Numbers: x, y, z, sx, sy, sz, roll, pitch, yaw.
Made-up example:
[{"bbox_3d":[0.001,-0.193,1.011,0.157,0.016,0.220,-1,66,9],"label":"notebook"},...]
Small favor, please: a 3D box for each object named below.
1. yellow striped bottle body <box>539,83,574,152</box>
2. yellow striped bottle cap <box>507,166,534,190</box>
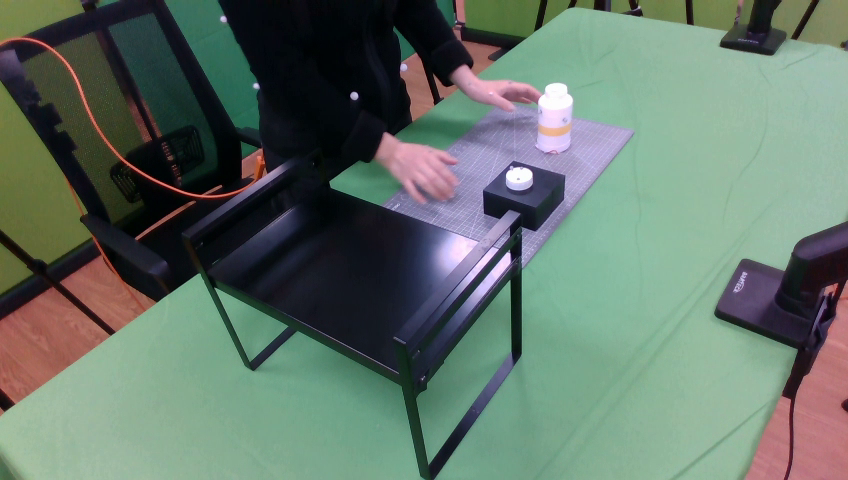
[{"bbox_3d":[0.246,-0.230,1.127,0.063,0.121,0.062,-5,41,4],"label":"yellow striped bottle body"},{"bbox_3d":[0.159,-0.102,0.995,0.044,0.019,0.044,-6,39,5],"label":"yellow striped bottle cap"}]
